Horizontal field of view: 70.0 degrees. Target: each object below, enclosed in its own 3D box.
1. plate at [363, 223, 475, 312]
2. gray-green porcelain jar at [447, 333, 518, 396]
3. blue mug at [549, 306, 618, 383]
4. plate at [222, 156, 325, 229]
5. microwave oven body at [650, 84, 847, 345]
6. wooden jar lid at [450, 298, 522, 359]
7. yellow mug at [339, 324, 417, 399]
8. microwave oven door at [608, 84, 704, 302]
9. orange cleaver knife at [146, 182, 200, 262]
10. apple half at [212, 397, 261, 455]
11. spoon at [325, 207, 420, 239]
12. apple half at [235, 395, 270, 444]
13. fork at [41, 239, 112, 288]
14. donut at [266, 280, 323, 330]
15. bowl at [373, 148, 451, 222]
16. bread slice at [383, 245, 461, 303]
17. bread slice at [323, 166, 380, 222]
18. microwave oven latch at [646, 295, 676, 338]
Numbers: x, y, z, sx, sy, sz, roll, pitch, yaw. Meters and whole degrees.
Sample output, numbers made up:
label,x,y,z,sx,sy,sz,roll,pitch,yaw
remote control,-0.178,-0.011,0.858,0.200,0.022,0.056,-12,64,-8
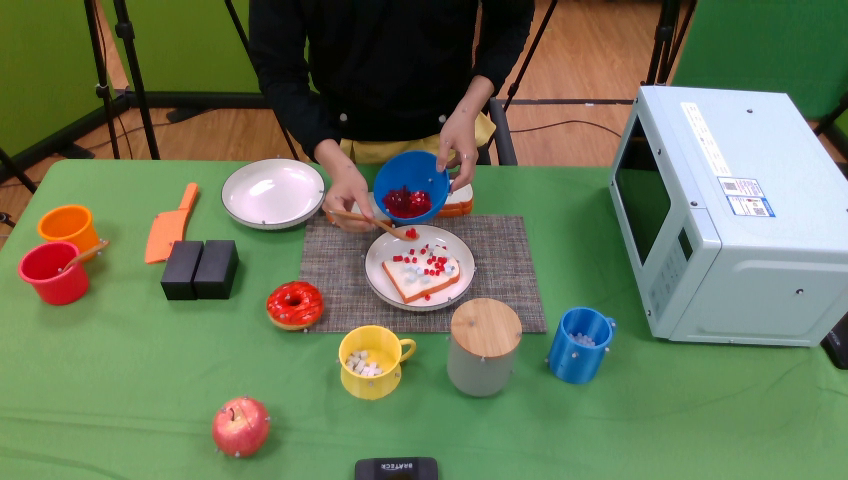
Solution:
label,x,y,z,sx,sy,sz,roll,pitch,yaw
plate,-0.009,0.054,1.126,0.208,0.039,0.206,2,46,-2
gray-green porcelain jar,0.091,0.178,0.960,0.106,0.127,0.105,2,46,-2
blue mug,0.269,0.167,0.997,0.116,0.106,0.082,-19,50,-21
plate,-0.308,-0.095,1.251,0.209,0.038,0.208,3,47,-2
microwave oven body,0.569,-0.054,1.116,0.326,0.261,0.439,2,46,-1
wooden jar lid,0.093,0.135,0.914,0.108,0.021,0.107,2,49,-3
yellow mug,-0.072,0.190,0.978,0.131,0.064,0.099,-17,50,-20
microwave oven door,0.424,-0.096,1.138,0.039,0.245,0.353,2,47,-1
orange cleaver knife,-0.494,-0.039,1.198,0.077,0.012,0.210,-3,48,2
apple half,-0.276,0.276,0.877,0.053,0.075,0.080,-29,58,-21
spoon,-0.082,-0.030,1.003,0.195,0.021,0.041,20,17,-42
apple half,-0.245,0.260,0.893,0.033,0.082,0.081,-29,55,-22
fork,-0.591,0.040,1.028,0.207,0.019,0.028,-27,37,29
donut,-0.223,0.113,1.051,0.099,0.048,0.098,2,45,-2
bowl,-0.015,-0.092,1.163,0.151,0.077,0.150,-6,65,14
bread slice,0.001,0.055,1.129,0.131,0.019,0.104,-21,52,-19
bread slice,-0.140,-0.092,1.224,0.134,0.018,0.106,-19,51,6
microwave oven latch,0.413,0.133,1.060,0.030,0.029,0.078,4,46,1
